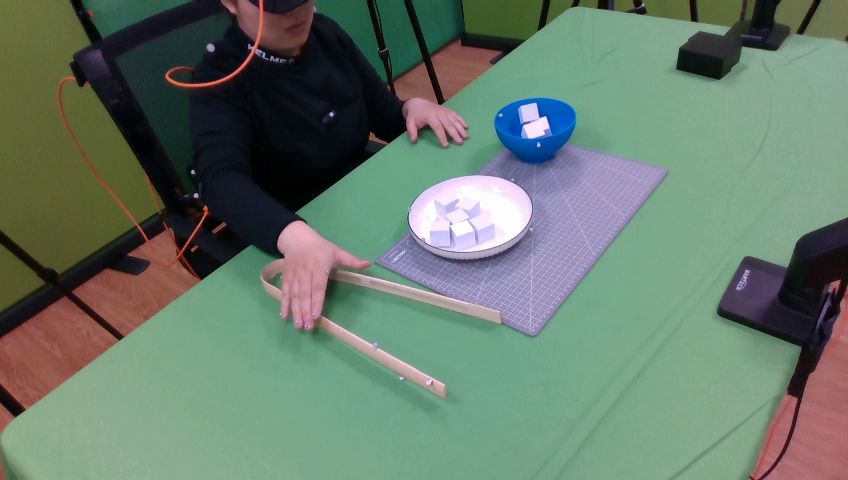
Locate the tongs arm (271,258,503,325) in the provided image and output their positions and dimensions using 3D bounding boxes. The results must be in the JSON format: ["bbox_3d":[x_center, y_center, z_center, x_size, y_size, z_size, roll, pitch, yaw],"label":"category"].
[{"bbox_3d":[-0.065,0.074,0.904,0.385,0.028,0.028,11,46,23],"label":"tongs arm"}]

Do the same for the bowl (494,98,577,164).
[{"bbox_3d":[0.207,-0.196,1.128,0.151,0.077,0.150,-5,40,5],"label":"bowl"}]

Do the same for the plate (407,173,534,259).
[{"bbox_3d":[0.076,-0.037,0.997,0.207,0.039,0.206,-5,40,5],"label":"plate"}]

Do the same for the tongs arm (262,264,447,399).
[{"bbox_3d":[-0.109,0.118,0.855,0.381,0.026,0.051,21,47,33],"label":"tongs arm"}]
